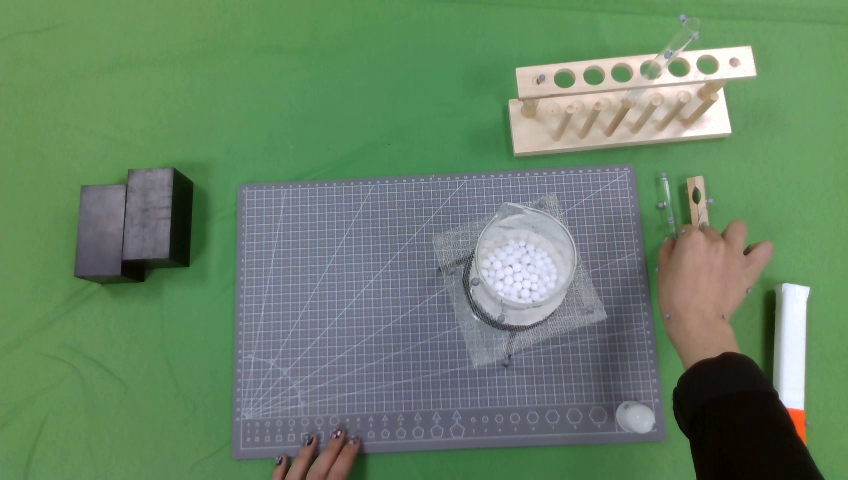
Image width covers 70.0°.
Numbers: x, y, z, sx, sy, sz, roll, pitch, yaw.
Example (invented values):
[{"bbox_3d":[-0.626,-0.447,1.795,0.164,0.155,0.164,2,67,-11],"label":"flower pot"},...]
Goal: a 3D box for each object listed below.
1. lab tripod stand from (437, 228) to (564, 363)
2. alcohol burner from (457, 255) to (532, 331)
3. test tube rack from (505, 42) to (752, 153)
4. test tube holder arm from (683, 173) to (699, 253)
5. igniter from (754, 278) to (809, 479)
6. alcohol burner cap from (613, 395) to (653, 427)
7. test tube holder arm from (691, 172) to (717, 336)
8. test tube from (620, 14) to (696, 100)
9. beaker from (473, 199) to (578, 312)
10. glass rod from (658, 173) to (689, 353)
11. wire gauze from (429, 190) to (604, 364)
[{"bbox_3d":[0.076,0.046,0.595,0.148,0.132,0.147,-1,79,4],"label":"lab tripod stand"},{"bbox_3d":[0.071,0.050,0.604,0.078,0.119,0.077,-1,76,3],"label":"alcohol burner"},{"bbox_3d":[0.216,-0.152,0.658,0.242,0.085,0.066,-5,78,1],"label":"test tube rack"},{"bbox_3d":[0.295,-0.030,0.666,0.010,0.015,0.087,-9,77,34],"label":"test tube holder arm"},{"bbox_3d":[0.364,0.176,0.616,0.057,0.025,0.275,9,79,-6],"label":"igniter"},{"bbox_3d":[0.213,0.173,0.611,0.034,0.048,0.033,0,78,2],"label":"alcohol burner cap"},{"bbox_3d":[0.302,0.014,0.655,0.013,0.015,0.177,-10,77,33],"label":"test tube holder arm"},{"bbox_3d":[0.232,-0.179,0.613,0.017,0.150,0.017,1,77,-4],"label":"test tube"},{"bbox_3d":[0.075,0.017,0.485,0.074,0.101,0.083,-18,78,0],"label":"beaker"},{"bbox_3d":[0.270,0.022,0.659,0.008,0.008,0.199,-4,79,1],"label":"glass rod"},{"bbox_3d":[0.079,0.030,0.531,0.121,0.011,0.124,-20,80,1],"label":"wire gauze"}]
